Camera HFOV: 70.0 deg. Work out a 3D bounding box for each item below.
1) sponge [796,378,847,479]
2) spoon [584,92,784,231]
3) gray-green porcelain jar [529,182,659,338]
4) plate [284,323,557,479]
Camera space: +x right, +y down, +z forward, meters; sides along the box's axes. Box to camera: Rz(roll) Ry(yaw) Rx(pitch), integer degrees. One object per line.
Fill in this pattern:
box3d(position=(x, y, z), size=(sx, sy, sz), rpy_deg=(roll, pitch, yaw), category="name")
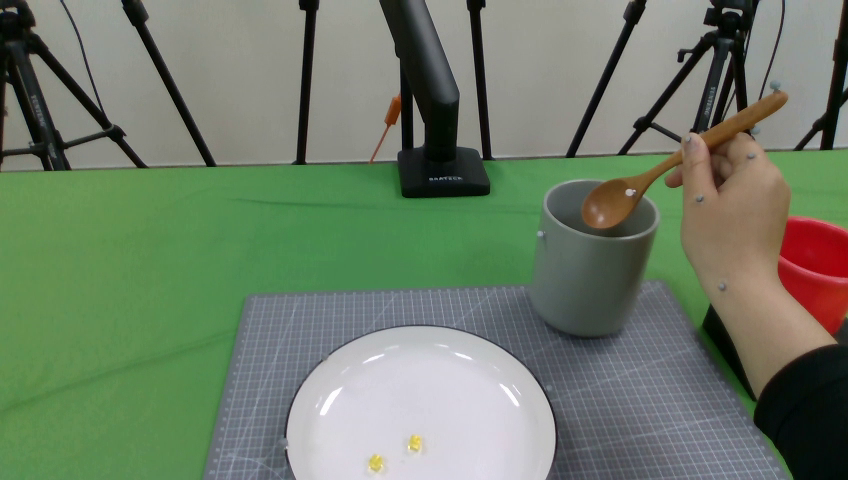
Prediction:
box3d(position=(0.389, 0.189, 0.426), size=(0.118, 0.061, 0.204), rpy_deg=(-4, 35, -9), category="sponge")
box3d(position=(0.191, -0.056, 0.473), size=(0.022, 0.194, 0.041), rpy_deg=(0, 69, -23), category="spoon")
box3d(position=(0.159, 0.023, 0.588), size=(0.106, 0.127, 0.105), rpy_deg=(1, 36, 0), category="gray-green porcelain jar")
box3d(position=(-0.002, 0.149, 0.478), size=(0.208, 0.039, 0.205), rpy_deg=(1, 35, -1), category="plate")
